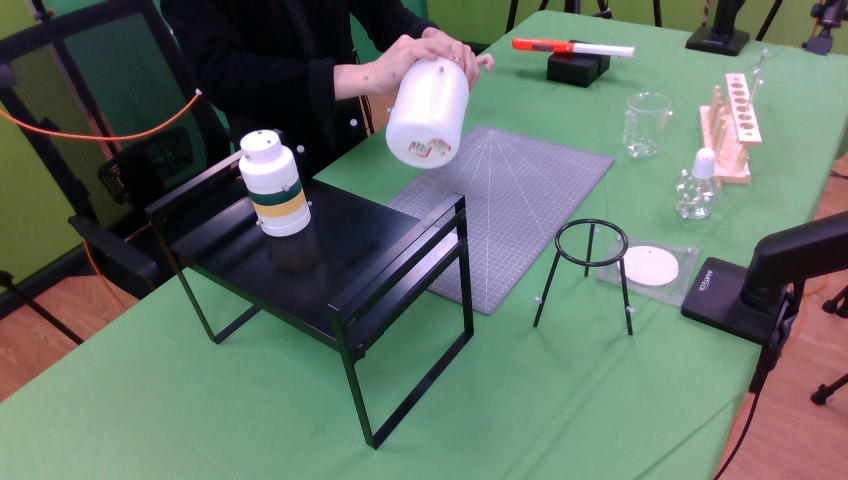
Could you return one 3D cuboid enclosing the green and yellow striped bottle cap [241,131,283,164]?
[{"bbox_3d":[-0.187,-0.107,0.695,0.045,0.020,0.045,-3,39,3],"label":"green and yellow striped bottle cap"}]

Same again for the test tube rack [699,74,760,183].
[{"bbox_3d":[0.547,-0.208,1.095,0.066,0.085,0.242,6,42,15],"label":"test tube rack"}]

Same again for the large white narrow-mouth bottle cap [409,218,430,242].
[{"bbox_3d":[-0.008,-0.017,0.999,0.038,0.024,0.037,-3,39,3],"label":"large white narrow-mouth bottle cap"}]

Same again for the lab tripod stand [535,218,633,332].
[{"bbox_3d":[0.216,0.050,0.803,0.148,0.132,0.147,-4,42,4],"label":"lab tripod stand"}]

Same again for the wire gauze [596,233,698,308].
[{"bbox_3d":[0.331,0.038,0.897,0.124,0.011,0.121,18,47,26],"label":"wire gauze"}]

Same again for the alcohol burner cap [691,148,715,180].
[{"bbox_3d":[0.432,-0.120,0.930,0.034,0.048,0.033,-7,48,8],"label":"alcohol burner cap"}]

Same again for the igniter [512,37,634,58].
[{"bbox_3d":[0.328,-0.433,1.360,0.275,0.025,0.057,12,33,20],"label":"igniter"}]

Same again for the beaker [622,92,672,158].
[{"bbox_3d":[0.402,-0.210,1.106,0.074,0.101,0.083,-9,40,-2],"label":"beaker"}]

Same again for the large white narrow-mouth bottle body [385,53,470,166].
[{"bbox_3d":[0.013,-0.203,0.867,0.101,0.102,0.194,5,51,13],"label":"large white narrow-mouth bottle body"}]

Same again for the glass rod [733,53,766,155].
[{"bbox_3d":[0.540,-0.220,1.007,0.008,0.201,0.008,-5,46,6],"label":"glass rod"}]

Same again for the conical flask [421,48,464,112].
[{"bbox_3d":[0.031,-0.267,0.996,0.075,0.122,0.075,0,78,1],"label":"conical flask"}]

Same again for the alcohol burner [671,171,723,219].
[{"bbox_3d":[0.434,-0.093,0.955,0.078,0.119,0.077,-3,43,4],"label":"alcohol burner"}]

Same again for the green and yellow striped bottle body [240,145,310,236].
[{"bbox_3d":[-0.181,-0.069,0.729,0.063,0.120,0.063,-4,40,4],"label":"green and yellow striped bottle body"}]
